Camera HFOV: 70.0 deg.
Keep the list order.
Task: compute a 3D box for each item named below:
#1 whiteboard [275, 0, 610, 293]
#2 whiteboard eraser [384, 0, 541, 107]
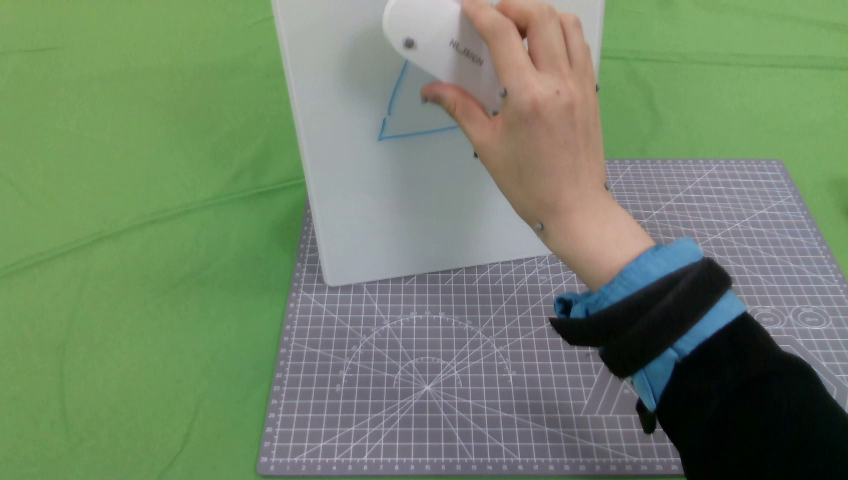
[{"bbox_3d":[0.009,-0.138,0.470,0.217,0.308,0.142,-8,31,-6],"label":"whiteboard"},{"bbox_3d":[0.025,-0.114,0.360,0.102,0.041,0.018,24,17,-21],"label":"whiteboard eraser"}]
